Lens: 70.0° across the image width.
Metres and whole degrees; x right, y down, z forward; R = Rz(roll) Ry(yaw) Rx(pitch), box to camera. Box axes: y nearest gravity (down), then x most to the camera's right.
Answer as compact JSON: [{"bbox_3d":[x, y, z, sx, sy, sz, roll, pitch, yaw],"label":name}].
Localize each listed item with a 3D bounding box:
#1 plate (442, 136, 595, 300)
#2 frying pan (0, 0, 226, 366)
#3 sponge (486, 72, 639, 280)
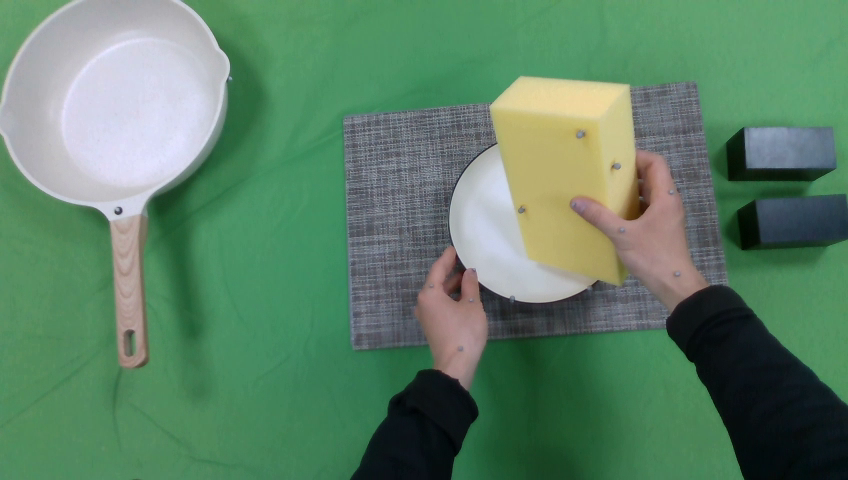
[{"bbox_3d":[0.126,-0.030,0.727,0.207,0.039,0.207,-1,80,4],"label":"plate"},{"bbox_3d":[-0.371,-0.084,0.746,0.307,0.103,0.484,-13,71,3],"label":"frying pan"},{"bbox_3d":[0.150,-0.064,0.629,0.117,0.209,0.061,16,51,38],"label":"sponge"}]
